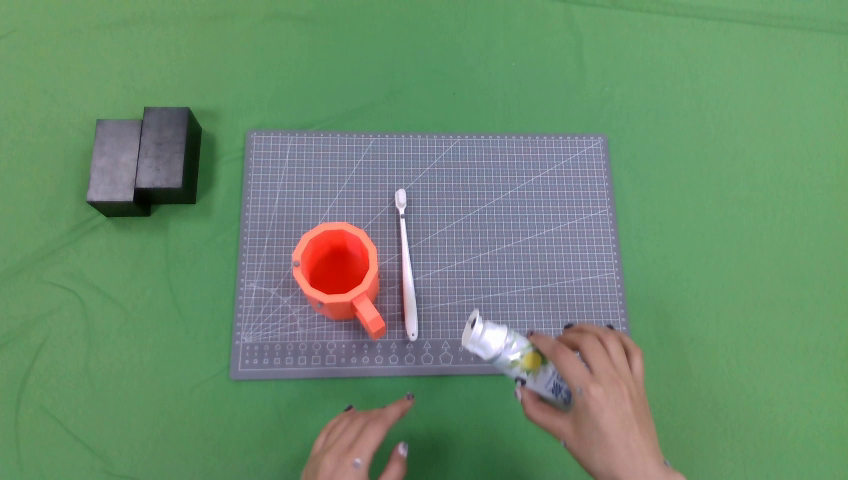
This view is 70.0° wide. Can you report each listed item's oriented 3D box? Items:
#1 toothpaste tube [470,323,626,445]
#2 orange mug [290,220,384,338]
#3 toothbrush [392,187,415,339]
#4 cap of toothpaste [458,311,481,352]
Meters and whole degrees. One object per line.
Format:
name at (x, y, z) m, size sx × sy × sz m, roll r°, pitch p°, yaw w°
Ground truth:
toothpaste tube at (0.109, 0.125, 0.548) m, size 0.166 × 0.034 × 0.055 m, roll 32°, pitch 85°, yaw -11°
orange mug at (-0.084, 0.047, 0.647) m, size 0.083 × 0.101 × 0.125 m, roll -34°, pitch 74°, yaw -13°
toothbrush at (-0.023, 0.024, 0.701) m, size 0.014 × 0.016 × 0.181 m, roll 0°, pitch 75°, yaw -20°
cap of toothpaste at (0.041, 0.081, 0.532) m, size 0.011 × 0.037 × 0.037 m, roll 19°, pitch 73°, yaw -6°
